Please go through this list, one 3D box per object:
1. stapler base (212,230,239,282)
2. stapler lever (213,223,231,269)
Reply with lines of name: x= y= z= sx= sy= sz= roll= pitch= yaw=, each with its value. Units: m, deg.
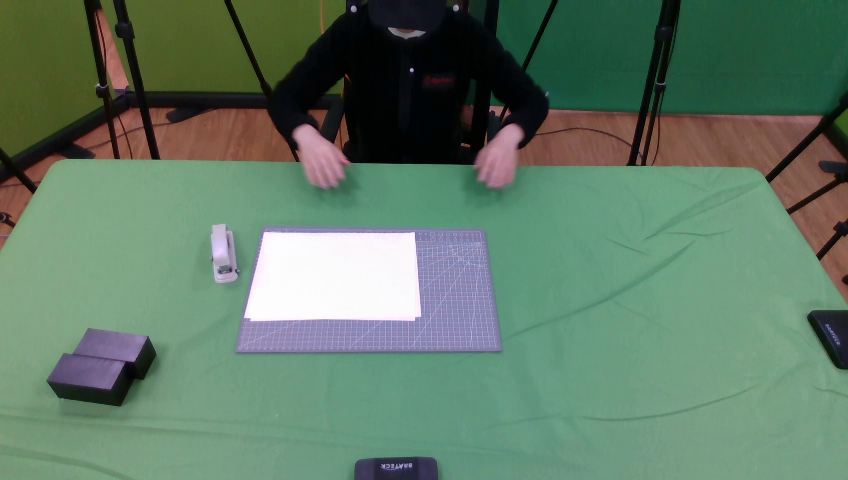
stapler base: x=-0.377 y=0.024 z=1.144 sx=0.041 sy=0.024 sz=0.129 roll=-9 pitch=46 yaw=-15
stapler lever: x=-0.377 y=0.005 z=1.127 sx=0.027 sy=0.040 sz=0.117 roll=-9 pitch=46 yaw=-15
